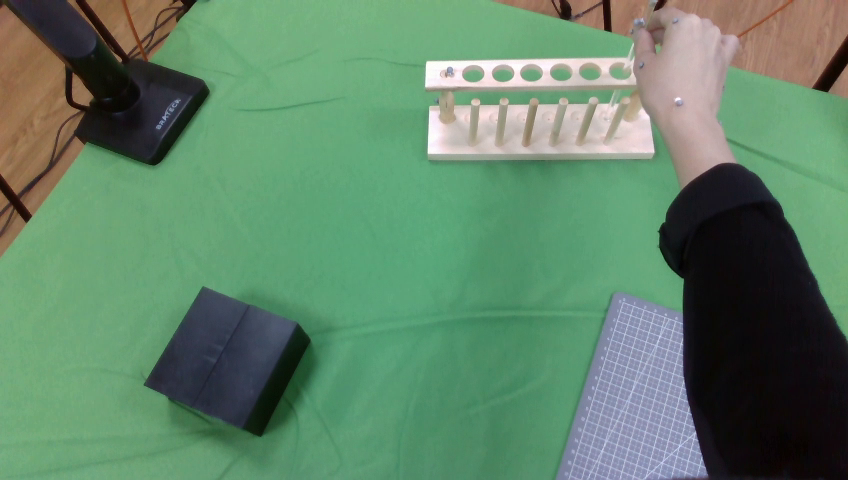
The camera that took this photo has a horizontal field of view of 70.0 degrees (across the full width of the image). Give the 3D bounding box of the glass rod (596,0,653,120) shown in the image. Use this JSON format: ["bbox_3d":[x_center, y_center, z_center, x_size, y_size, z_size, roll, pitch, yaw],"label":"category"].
[{"bbox_3d":[0.191,-0.173,0.581,0.008,0.201,0.008,0,68,1],"label":"glass rod"}]

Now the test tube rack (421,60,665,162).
[{"bbox_3d":[0.120,-0.134,0.640,0.242,0.086,0.066,0,65,3],"label":"test tube rack"}]
